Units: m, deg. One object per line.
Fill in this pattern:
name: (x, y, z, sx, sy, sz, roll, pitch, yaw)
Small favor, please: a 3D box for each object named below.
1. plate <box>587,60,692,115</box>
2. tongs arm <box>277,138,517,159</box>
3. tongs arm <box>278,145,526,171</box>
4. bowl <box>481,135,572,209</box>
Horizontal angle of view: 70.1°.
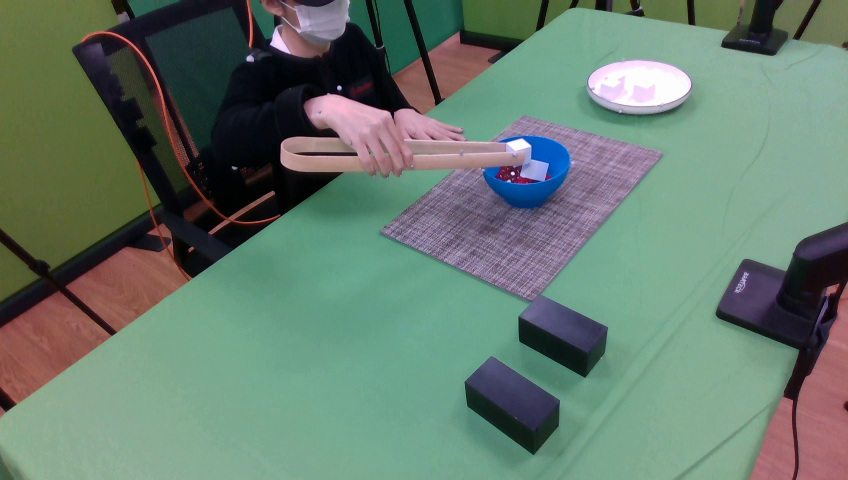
plate: (0.445, -0.313, 1.263, 0.209, 0.038, 0.208, -5, 40, 4)
tongs arm: (-0.029, -0.141, 0.934, 0.390, 0.028, 0.028, -3, 42, -20)
tongs arm: (-0.022, -0.127, 0.917, 0.387, 0.026, 0.050, -6, 40, -24)
bowl: (0.172, -0.106, 1.025, 0.151, 0.077, 0.150, -4, 40, 4)
